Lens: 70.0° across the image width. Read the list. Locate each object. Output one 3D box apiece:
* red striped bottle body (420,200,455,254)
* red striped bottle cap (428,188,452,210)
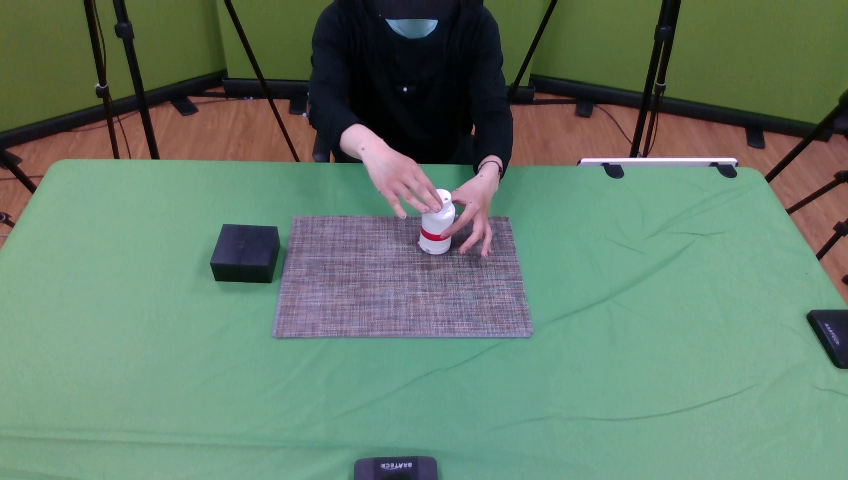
[{"bbox_3d":[0.026,-0.035,1.155,0.063,0.120,0.062,2,45,-2],"label":"red striped bottle body"},{"bbox_3d":[0.029,-0.076,1.115,0.044,0.018,0.044,-3,44,3],"label":"red striped bottle cap"}]
